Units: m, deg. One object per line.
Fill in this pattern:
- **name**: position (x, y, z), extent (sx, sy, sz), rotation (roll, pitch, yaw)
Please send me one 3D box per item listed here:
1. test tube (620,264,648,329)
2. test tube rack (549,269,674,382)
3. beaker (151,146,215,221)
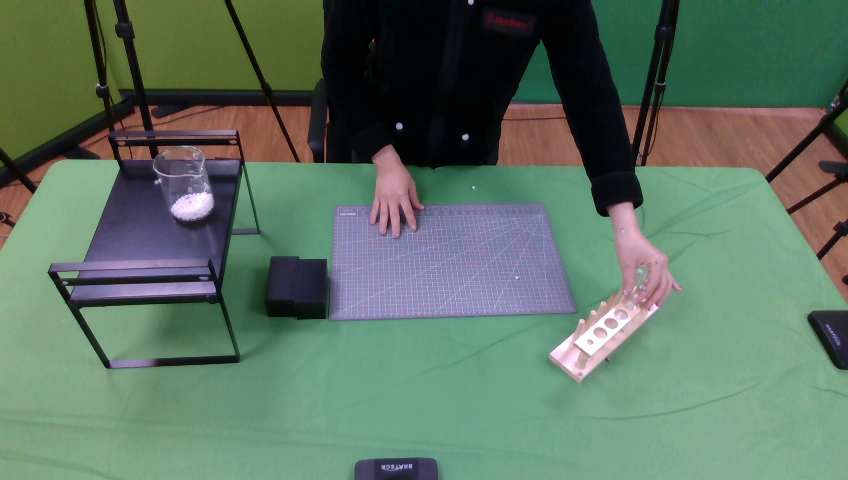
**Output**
- **test tube**: position (0.348, 0.098, 1.012), extent (0.017, 0.151, 0.017), rotation (1, 42, 0)
- **test tube rack**: position (0.325, 0.134, 1.047), extent (0.242, 0.085, 0.066), rotation (-32, 55, -30)
- **beaker**: position (-0.370, -0.084, 0.948), extent (0.083, 0.101, 0.074), rotation (27, 50, 19)
